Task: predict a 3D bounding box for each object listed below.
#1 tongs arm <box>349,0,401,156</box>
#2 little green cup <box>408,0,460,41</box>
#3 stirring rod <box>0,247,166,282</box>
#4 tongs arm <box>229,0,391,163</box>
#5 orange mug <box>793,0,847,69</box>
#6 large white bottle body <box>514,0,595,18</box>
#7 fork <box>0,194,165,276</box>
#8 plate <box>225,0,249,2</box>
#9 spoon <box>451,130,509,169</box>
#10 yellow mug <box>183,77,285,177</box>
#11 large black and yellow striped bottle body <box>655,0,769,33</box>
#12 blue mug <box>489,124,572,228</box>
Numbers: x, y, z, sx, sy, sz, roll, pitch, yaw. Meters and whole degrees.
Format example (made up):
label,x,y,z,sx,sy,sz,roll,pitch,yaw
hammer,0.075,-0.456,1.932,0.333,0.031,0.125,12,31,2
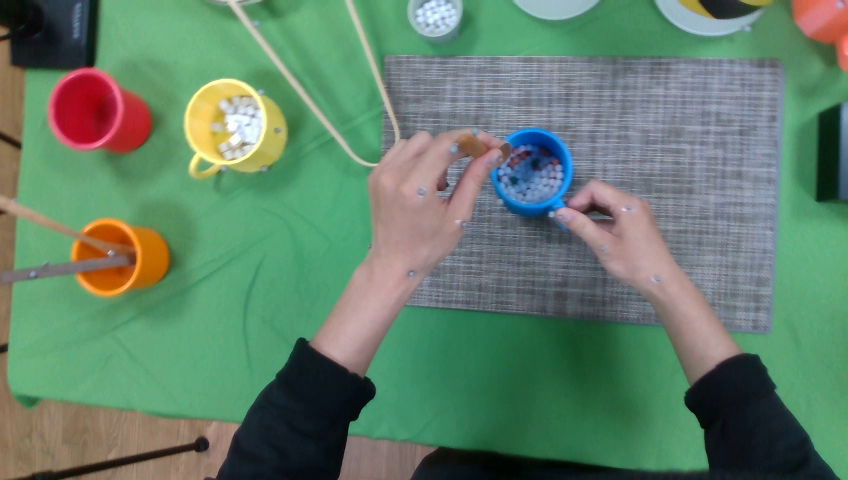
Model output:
label,x,y,z,sx,sy,sz,roll,pitch,yaw
tongs arm,-0.098,-0.285,0.709,0.028,0.027,0.388,-21,94,-1
little green cup,0.014,-0.265,0.711,0.061,0.038,0.061,0,90,7
stirring rod,-0.398,0.028,0.714,0.177,0.006,0.014,-10,83,-34
tongs arm,-0.171,-0.243,0.716,0.051,0.026,0.385,-35,92,3
orange mug,0.448,-0.247,0.622,0.083,0.101,0.126,-6,84,8
large white bottle body,0.142,-0.325,0.620,0.130,0.185,0.130,0,89,8
fork,-0.405,-0.008,0.709,0.209,0.018,0.028,31,89,-36
plate,-0.223,-0.393,0.743,0.207,0.039,0.207,0,90,8
spoon,0.048,-0.076,0.504,0.041,0.194,0.021,-32,89,13
yellow mug,-0.236,-0.126,0.729,0.100,0.064,0.131,42,96,6
large black and yellow striped bottle body,0.310,-0.298,0.598,0.130,0.184,0.130,0,89,8
blue mug,0.123,-0.061,0.657,0.082,0.106,0.116,-37,85,6
